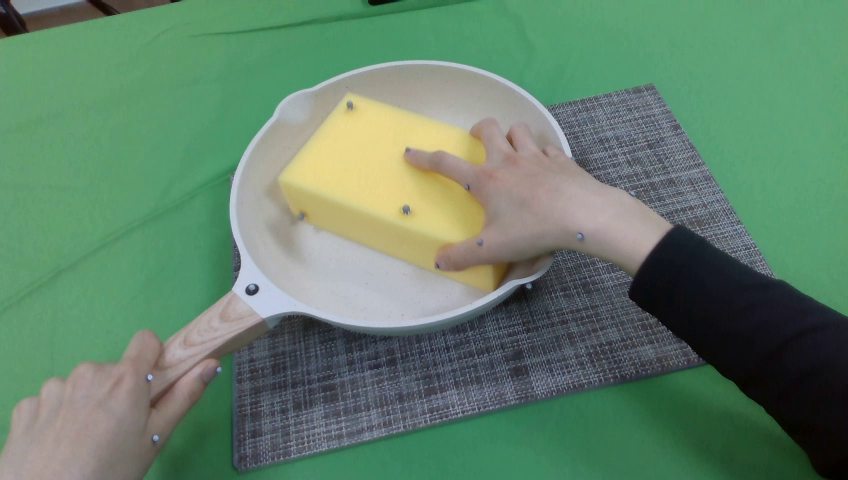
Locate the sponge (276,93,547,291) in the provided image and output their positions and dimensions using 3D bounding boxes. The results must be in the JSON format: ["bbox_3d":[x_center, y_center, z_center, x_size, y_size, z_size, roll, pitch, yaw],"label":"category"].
[{"bbox_3d":[-0.009,-0.048,0.542,0.205,0.061,0.117,20,61,19],"label":"sponge"}]

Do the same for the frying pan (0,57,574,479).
[{"bbox_3d":[-0.091,0.013,0.488,0.304,0.103,0.487,37,58,27],"label":"frying pan"}]
